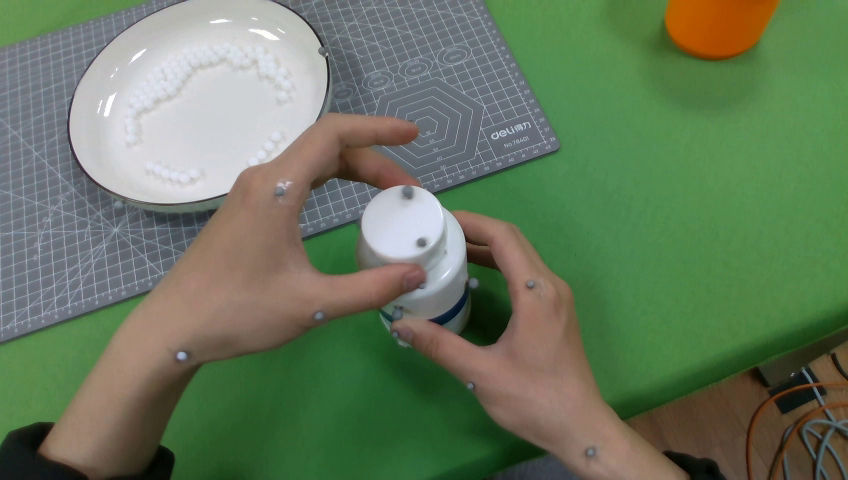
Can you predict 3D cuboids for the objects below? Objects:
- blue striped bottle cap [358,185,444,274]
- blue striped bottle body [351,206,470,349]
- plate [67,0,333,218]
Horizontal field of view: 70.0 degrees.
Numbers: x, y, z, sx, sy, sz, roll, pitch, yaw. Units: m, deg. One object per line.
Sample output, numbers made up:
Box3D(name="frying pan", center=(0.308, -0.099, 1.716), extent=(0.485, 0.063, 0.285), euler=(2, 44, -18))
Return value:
Box3D(name="blue striped bottle cap", center=(-0.012, -0.006, 0.314), extent=(0.044, 0.021, 0.044), euler=(0, 63, 0))
Box3D(name="blue striped bottle body", center=(-0.006, 0.019, 0.363), extent=(0.063, 0.122, 0.062), euler=(-3, 63, 6))
Box3D(name="plate", center=(-0.172, -0.105, 0.484), extent=(0.207, 0.039, 0.206), euler=(-2, 64, 5))
